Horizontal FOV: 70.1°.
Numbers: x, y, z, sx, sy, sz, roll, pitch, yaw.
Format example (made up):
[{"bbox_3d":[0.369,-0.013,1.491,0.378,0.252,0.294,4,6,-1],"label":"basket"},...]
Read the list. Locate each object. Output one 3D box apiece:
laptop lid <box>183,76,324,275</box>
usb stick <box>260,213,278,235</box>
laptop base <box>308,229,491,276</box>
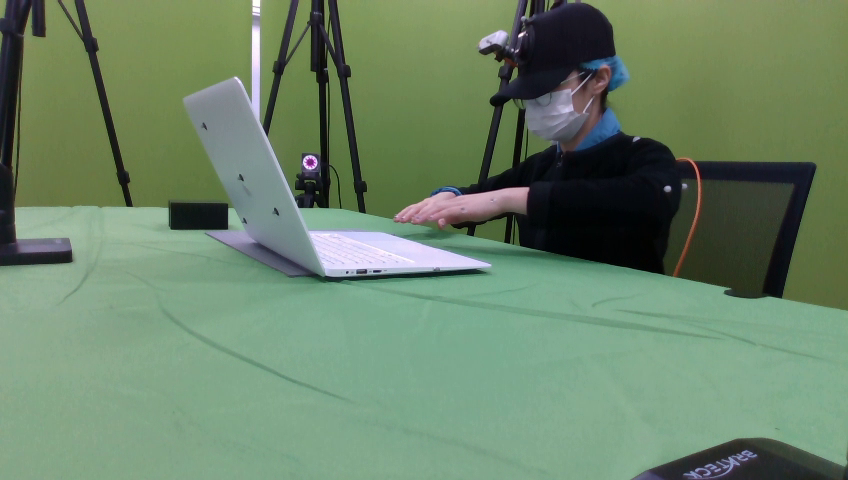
[{"bbox_3d":[-0.237,-0.085,0.791,0.013,0.242,0.355,-30,23,-23],"label":"laptop lid"},{"bbox_3d":[-0.260,-0.025,1.016,0.021,0.027,0.059,1,19,-27],"label":"usb stick"},{"bbox_3d":[-0.094,0.015,0.888,0.237,0.023,0.352,2,7,-30],"label":"laptop base"}]
